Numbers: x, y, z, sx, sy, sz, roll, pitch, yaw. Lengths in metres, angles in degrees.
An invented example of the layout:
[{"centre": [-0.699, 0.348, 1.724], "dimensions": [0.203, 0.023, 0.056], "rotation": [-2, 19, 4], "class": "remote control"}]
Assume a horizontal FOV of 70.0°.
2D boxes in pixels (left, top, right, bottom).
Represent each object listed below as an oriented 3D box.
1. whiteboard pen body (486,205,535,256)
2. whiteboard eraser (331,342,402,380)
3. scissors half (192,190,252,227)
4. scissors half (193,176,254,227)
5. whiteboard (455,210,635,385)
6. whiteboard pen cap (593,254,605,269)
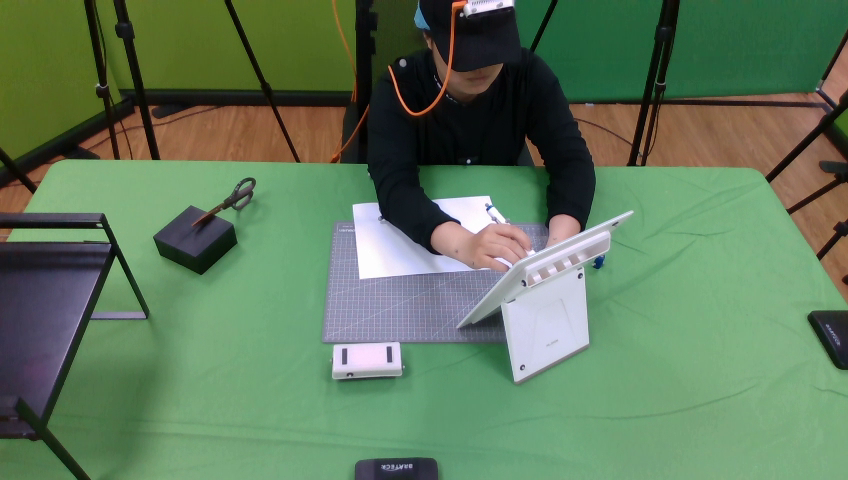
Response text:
[{"centre": [0.151, -0.004, 0.993], "dimensions": [0.017, 0.017, 0.140], "rotation": [-32, 73, -30], "class": "whiteboard pen body"}, {"centre": [-0.094, 0.198, 0.986], "dimensions": [0.113, 0.042, 0.055], "rotation": [-2, 44, -6], "class": "whiteboard eraser"}, {"centre": [-0.393, -0.060, 1.187], "dimensions": [0.013, 0.040, 0.175], "rotation": [25, 29, 12], "class": "scissors half"}, {"centre": [-0.388, -0.075, 1.174], "dimensions": [0.013, 0.040, 0.174], "rotation": [29, 47, 8], "class": "scissors half"}, {"centre": [0.211, 0.111, 0.955], "dimensions": [0.217, 0.306, 0.143], "rotation": [-20, 71, -23], "class": "whiteboard"}, {"centre": [0.340, 0.041, 1.179], "dimensions": [0.018, 0.033, 0.018], "rotation": [2, 46, -1], "class": "whiteboard pen cap"}]
